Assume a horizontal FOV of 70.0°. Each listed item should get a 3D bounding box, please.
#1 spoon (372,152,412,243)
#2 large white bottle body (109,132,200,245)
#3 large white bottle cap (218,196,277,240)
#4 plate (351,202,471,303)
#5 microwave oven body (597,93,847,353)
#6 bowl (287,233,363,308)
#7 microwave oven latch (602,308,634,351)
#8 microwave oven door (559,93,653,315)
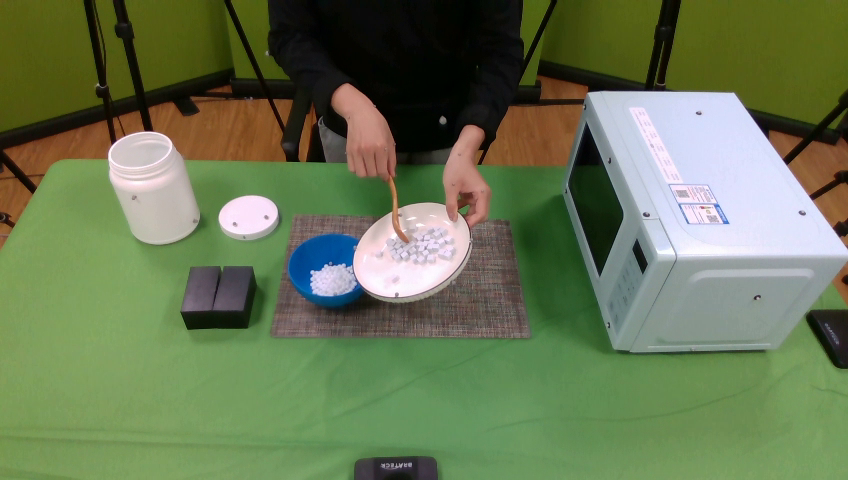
[{"bbox_3d":[-0.059,-0.077,1.057,0.042,0.021,0.192,6,59,-42],"label":"spoon"},{"bbox_3d":[-0.506,-0.097,1.141,0.131,0.185,0.130,2,46,-2],"label":"large white bottle body"},{"bbox_3d":[-0.354,-0.045,1.220,0.115,0.018,0.114,2,46,-2],"label":"large white bottle cap"},{"bbox_3d":[-0.020,0.023,1.011,0.209,0.038,0.208,-12,46,14],"label":"plate"},{"bbox_3d":[0.475,-0.041,1.109,0.326,0.261,0.438,-1,45,-4],"label":"microwave oven body"},{"bbox_3d":[-0.165,0.068,1.078,0.151,0.077,0.150,3,46,-3],"label":"bowl"},{"bbox_3d":[0.332,0.153,1.044,0.030,0.029,0.078,-1,45,-4],"label":"microwave oven latch"},{"bbox_3d":[0.327,-0.074,1.123,0.039,0.245,0.353,-1,46,-5],"label":"microwave oven door"}]
